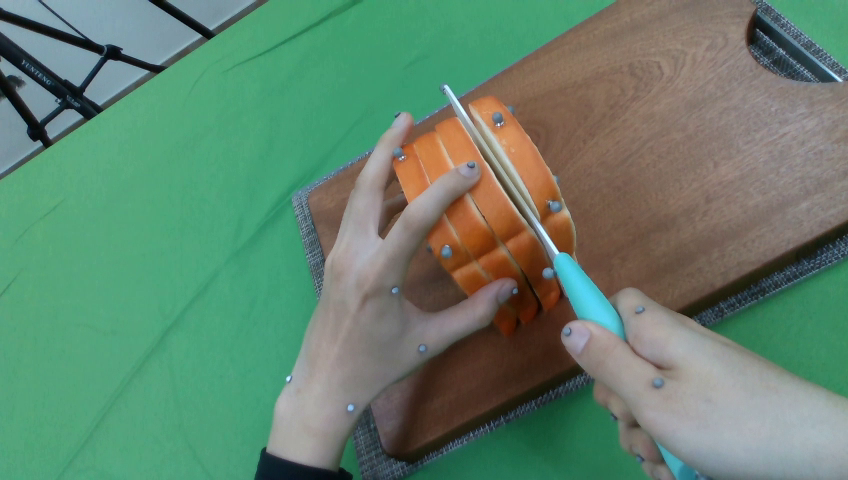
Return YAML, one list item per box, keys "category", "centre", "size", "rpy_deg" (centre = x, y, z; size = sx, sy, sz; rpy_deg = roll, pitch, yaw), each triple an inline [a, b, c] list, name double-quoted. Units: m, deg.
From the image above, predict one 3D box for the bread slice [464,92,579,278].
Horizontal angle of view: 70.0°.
- category: "bread slice"
  centre: [0.065, -0.034, 0.395]
  size: [0.019, 0.133, 0.104]
  rpy_deg: [-31, 57, 2]

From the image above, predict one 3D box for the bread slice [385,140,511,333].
- category: "bread slice"
  centre: [0.016, -0.008, 0.403]
  size: [0.018, 0.136, 0.106]
  rpy_deg: [-30, 53, 8]

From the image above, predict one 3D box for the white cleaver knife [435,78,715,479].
- category: "white cleaver knife"
  centre: [0.076, 0.007, 0.358]
  size: [0.021, 0.066, 0.283]
  rpy_deg: [-31, 62, 7]
